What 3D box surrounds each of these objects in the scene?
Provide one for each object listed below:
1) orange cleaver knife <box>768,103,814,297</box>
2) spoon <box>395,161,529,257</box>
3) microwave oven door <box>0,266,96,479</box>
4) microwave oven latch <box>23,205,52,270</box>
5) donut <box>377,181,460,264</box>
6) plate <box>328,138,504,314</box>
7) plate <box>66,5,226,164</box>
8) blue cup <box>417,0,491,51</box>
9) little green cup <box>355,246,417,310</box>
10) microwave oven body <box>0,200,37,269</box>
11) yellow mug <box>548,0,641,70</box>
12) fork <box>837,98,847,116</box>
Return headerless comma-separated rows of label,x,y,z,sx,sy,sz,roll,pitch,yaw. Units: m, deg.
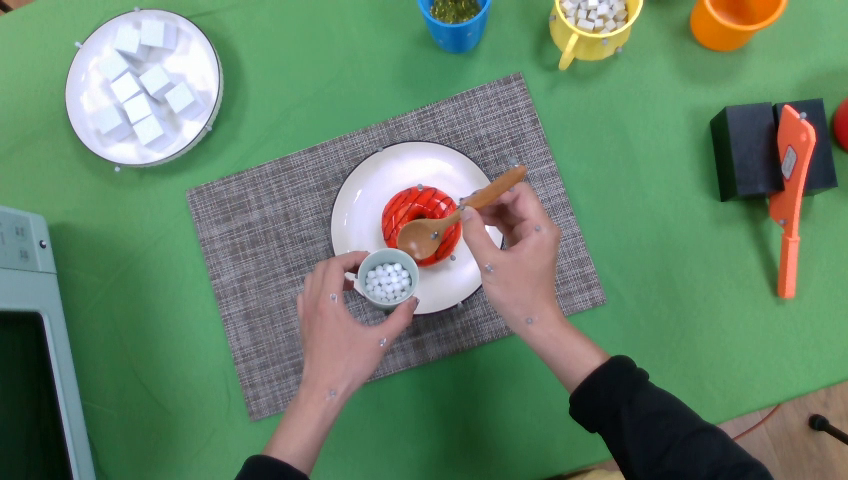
orange cleaver knife,0.396,-0.041,0.666,0.012,0.077,0.212,-4,112,8
spoon,0.029,-0.024,0.544,0.042,0.193,0.021,52,55,-6
microwave oven door,-0.443,0.196,0.623,0.039,0.244,0.354,-16,82,4
microwave oven latch,-0.488,-0.001,0.751,0.030,0.029,0.079,-14,83,3
donut,-0.006,-0.020,0.711,0.099,0.048,0.099,0,86,6
plate,-0.009,-0.016,0.721,0.209,0.038,0.208,-1,83,5
plate,-0.351,-0.196,0.778,0.207,0.039,0.207,-1,84,6
blue cup,0.037,-0.271,0.717,0.092,0.100,0.092,0,85,5
little green cup,-0.039,0.041,0.616,0.061,0.039,0.061,2,63,-3
microwave oven body,-0.594,0.196,0.643,0.326,0.261,0.440,-16,83,3
yellow mug,0.192,-0.261,0.718,0.099,0.064,0.131,29,88,8
fork,0.544,-0.123,0.628,0.028,0.019,0.205,-49,39,-11
